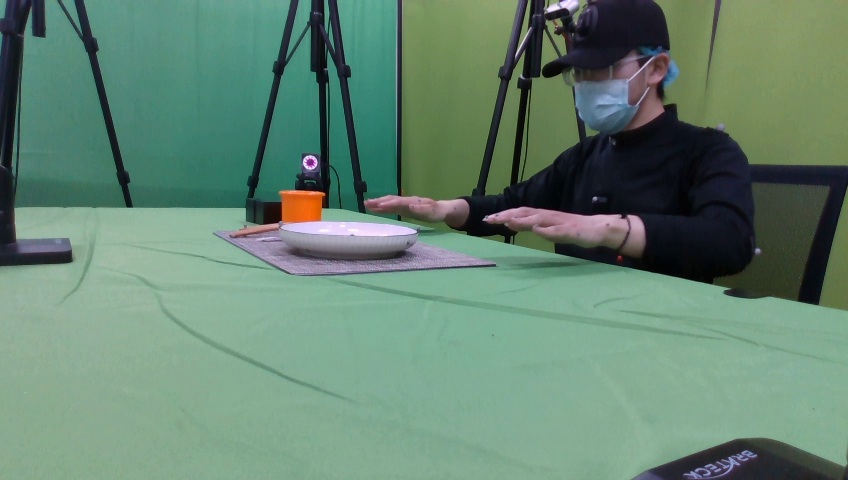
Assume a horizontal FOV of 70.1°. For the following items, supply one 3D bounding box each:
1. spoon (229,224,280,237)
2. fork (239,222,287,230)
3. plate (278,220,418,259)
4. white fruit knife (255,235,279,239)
[{"bbox_3d":[-0.248,-0.020,1.071,0.195,0.021,0.041,-3,25,-36],"label":"spoon"},{"bbox_3d":[-0.241,-0.025,1.125,0.208,0.018,0.028,-1,16,-35],"label":"fork"},{"bbox_3d":[-0.114,-0.002,0.914,0.209,0.038,0.209,2,7,0],"label":"plate"},{"bbox_3d":[-0.197,-0.012,1.047,0.208,0.016,0.027,-6,-2,-44],"label":"white fruit knife"}]
